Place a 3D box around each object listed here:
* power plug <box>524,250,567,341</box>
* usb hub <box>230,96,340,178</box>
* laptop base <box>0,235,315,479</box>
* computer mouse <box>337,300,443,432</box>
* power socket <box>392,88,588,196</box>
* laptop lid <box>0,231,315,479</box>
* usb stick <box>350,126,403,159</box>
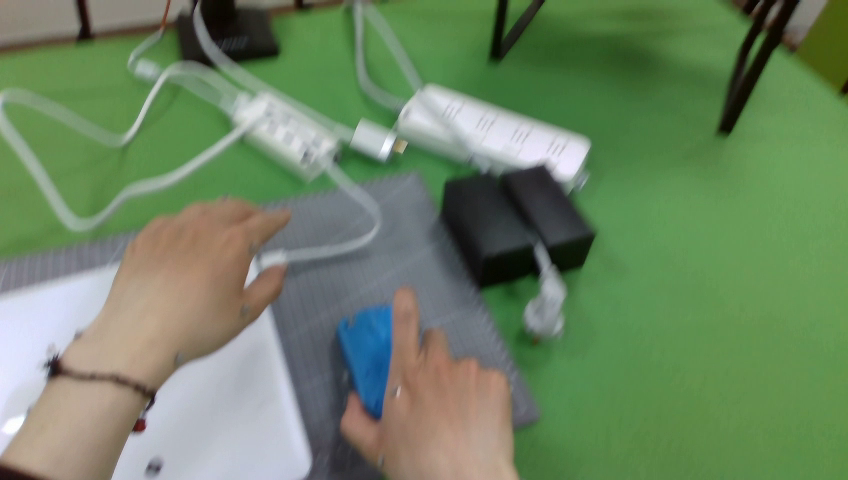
[{"bbox_3d":[0.108,0.052,0.529,0.035,0.053,0.072,23,41,0],"label":"power plug"},{"bbox_3d":[-0.155,-0.115,0.667,0.124,0.025,0.049,33,55,23],"label":"usb hub"},{"bbox_3d":[-0.282,0.127,0.454,0.355,0.023,0.233,-16,55,-17],"label":"laptop base"},{"bbox_3d":[-0.030,0.094,0.484,0.063,0.041,0.116,-13,47,-13],"label":"computer mouse"},{"bbox_3d":[0.074,-0.112,0.676,0.225,0.033,0.072,22,51,15],"label":"power socket"},{"bbox_3d":[-0.281,0.121,0.444,0.357,0.013,0.239,-15,54,-16],"label":"laptop lid"},{"bbox_3d":[-0.050,-0.105,0.665,0.059,0.027,0.021,16,5,-10],"label":"usb stick"}]
